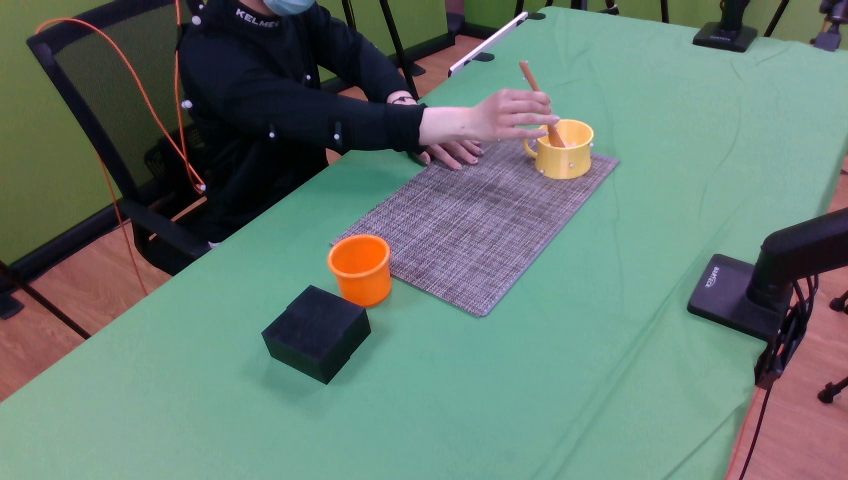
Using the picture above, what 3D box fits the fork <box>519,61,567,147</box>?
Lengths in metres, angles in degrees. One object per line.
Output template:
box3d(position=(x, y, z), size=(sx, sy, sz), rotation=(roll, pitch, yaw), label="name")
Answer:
box3d(position=(0.207, -0.223, 1.038), size=(0.028, 0.209, 0.018), rotation=(13, 56, 46), label="fork")

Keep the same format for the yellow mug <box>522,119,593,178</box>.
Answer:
box3d(position=(0.237, -0.169, 1.092), size=(0.130, 0.064, 0.100), rotation=(17, 46, 27), label="yellow mug")
